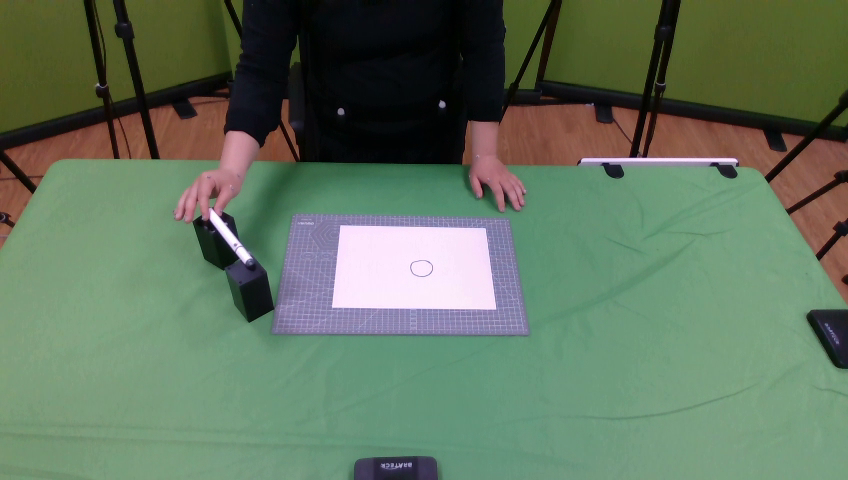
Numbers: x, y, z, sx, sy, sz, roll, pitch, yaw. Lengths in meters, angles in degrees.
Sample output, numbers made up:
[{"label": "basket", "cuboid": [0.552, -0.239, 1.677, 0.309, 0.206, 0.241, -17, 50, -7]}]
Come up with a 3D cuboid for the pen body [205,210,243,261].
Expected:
[{"label": "pen body", "cuboid": [-0.341, -0.006, 1.041, 0.017, 0.017, 0.143, -27, 52, -27]}]

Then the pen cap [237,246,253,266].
[{"label": "pen cap", "cuboid": [-0.300, 0.028, 1.012, 0.017, 0.017, 0.038, -29, 56, -29]}]
